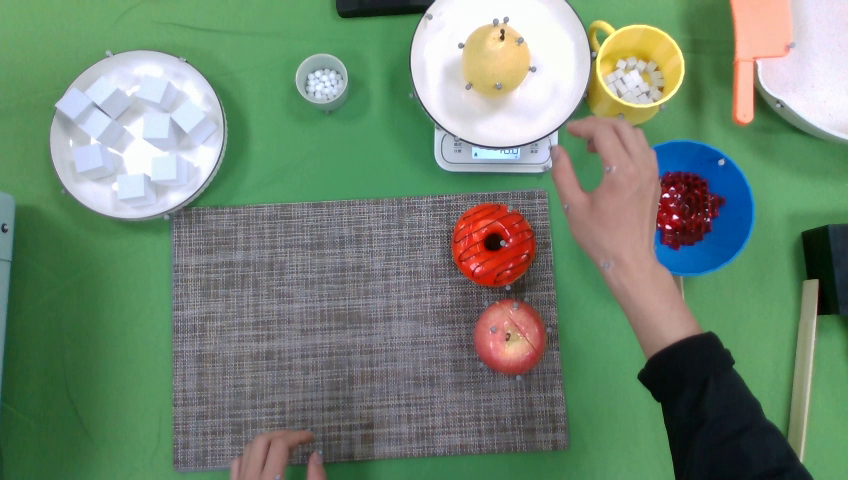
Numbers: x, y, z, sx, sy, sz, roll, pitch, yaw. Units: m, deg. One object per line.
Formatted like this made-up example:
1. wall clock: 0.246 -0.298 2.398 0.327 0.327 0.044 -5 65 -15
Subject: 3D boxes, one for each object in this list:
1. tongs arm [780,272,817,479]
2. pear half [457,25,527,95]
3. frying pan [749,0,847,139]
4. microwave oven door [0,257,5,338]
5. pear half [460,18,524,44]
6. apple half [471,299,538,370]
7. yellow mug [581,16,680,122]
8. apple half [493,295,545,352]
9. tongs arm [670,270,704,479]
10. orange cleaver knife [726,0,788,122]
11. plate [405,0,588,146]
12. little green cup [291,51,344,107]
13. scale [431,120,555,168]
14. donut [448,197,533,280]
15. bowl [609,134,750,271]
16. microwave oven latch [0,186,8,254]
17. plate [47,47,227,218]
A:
1. tongs arm: 0.405 0.225 0.680 0.028 0.028 0.386 12 84 -5
2. pear half: 0.075 -0.193 0.656 0.076 0.110 0.056 -6 82 3
3. frying pan: 0.558 -0.166 0.691 0.307 0.103 0.485 -30 76 -2
4. microwave oven door: -0.499 0.179 0.564 0.039 0.244 0.354 -1 82 0
5. pear half: 0.074 -0.227 0.669 0.070 0.088 0.031 -7 82 2
6. apple half: 0.081 0.111 0.670 0.053 0.075 0.080 -39 86 -1
7. yellow mug: 0.231 -0.211 0.717 0.100 0.064 0.130 -36 83 -3
8. apple half: 0.111 0.085 0.671 0.033 0.081 0.081 -41 84 -1
9. tongs arm: 0.319 0.221 0.678 0.051 0.026 0.383 -2 84 -3
10. orange cleaver knife: 0.371 -0.236 0.683 0.077 0.012 0.210 1 83 3
11. plate: 0.083 -0.207 0.702 0.209 0.038 0.208 0 83 0
12. little green cup: -0.125 -0.191 0.730 0.061 0.039 0.061 0 82 1
13. scale: 0.084 -0.188 0.732 0.149 0.031 0.200 1 83 1
14. donut: 0.076 -0.002 0.699 0.099 0.048 0.099 0 84 2
15. bowl: 0.277 -0.036 0.689 0.151 0.077 0.151 0 83 0
16. microwave oven latch: -0.498 -0.024 0.692 0.030 0.029 0.079 1 83 0
17. plate: -0.336 -0.126 0.723 0.208 0.039 0.207 0 83 0
